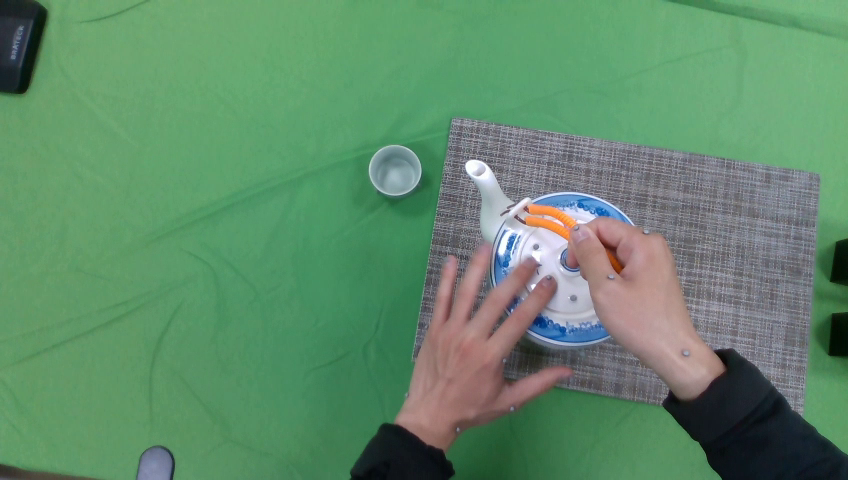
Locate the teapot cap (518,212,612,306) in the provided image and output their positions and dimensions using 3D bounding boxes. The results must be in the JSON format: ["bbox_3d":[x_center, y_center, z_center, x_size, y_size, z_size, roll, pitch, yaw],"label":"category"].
[{"bbox_3d":[0.125,0.015,0.532,0.085,0.044,0.084,0,76,0],"label":"teapot cap"}]

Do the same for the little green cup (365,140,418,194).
[{"bbox_3d":[-0.038,-0.084,0.718,0.061,0.039,0.061,0,81,0],"label":"little green cup"}]

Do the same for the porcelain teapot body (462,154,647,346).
[{"bbox_3d":[0.109,0.005,0.575,0.204,0.226,0.145,43,85,11],"label":"porcelain teapot body"}]
